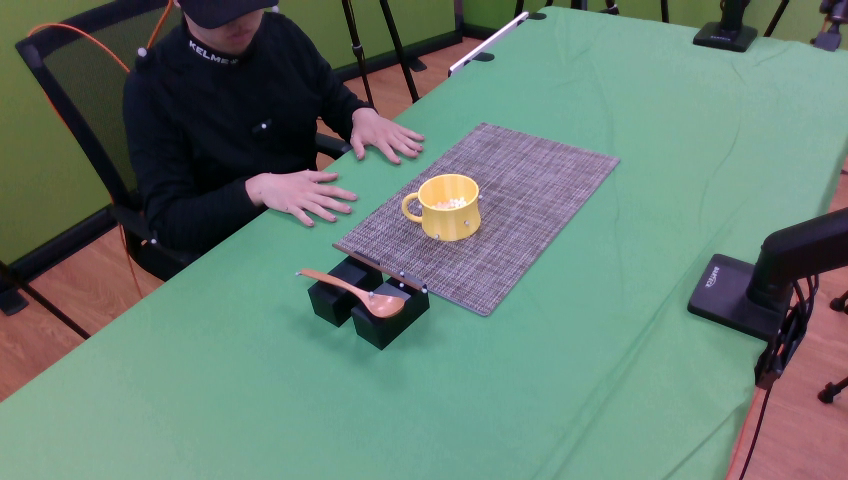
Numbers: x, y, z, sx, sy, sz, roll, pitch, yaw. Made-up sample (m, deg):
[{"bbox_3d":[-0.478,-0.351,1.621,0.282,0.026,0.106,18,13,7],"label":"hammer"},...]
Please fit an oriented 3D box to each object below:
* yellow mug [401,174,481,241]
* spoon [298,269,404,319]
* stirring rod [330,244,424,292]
[{"bbox_3d":[0.026,-0.054,0.988,0.130,0.064,0.099,-1,40,8],"label":"yellow mug"},{"bbox_3d":[-0.106,0.068,0.831,0.192,0.022,0.042,21,49,32],"label":"spoon"},{"bbox_3d":[-0.070,0.038,0.864,0.175,0.006,0.014,24,12,31],"label":"stirring rod"}]
